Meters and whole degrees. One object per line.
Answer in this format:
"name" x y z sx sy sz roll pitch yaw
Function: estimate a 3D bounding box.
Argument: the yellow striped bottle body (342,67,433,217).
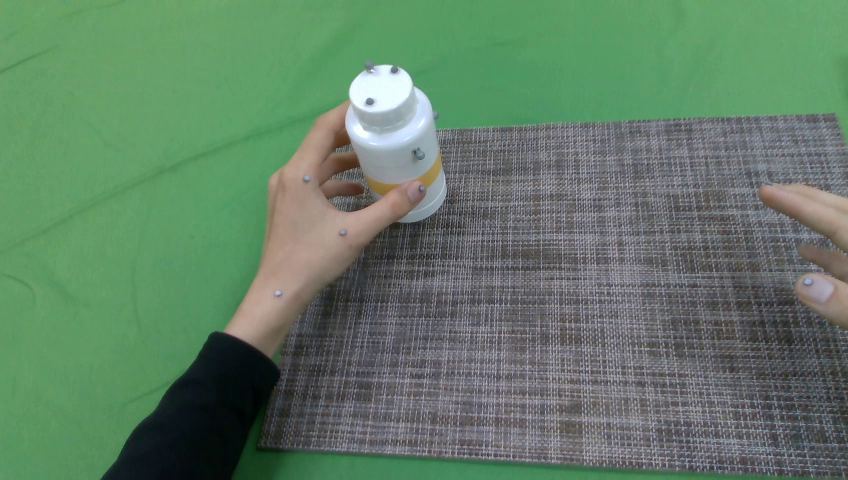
"yellow striped bottle body" -0.025 -0.073 0.451 0.063 0.121 0.062 -1 61 2

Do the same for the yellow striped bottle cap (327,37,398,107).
"yellow striped bottle cap" -0.039 -0.108 0.390 0.044 0.019 0.044 -5 65 11
